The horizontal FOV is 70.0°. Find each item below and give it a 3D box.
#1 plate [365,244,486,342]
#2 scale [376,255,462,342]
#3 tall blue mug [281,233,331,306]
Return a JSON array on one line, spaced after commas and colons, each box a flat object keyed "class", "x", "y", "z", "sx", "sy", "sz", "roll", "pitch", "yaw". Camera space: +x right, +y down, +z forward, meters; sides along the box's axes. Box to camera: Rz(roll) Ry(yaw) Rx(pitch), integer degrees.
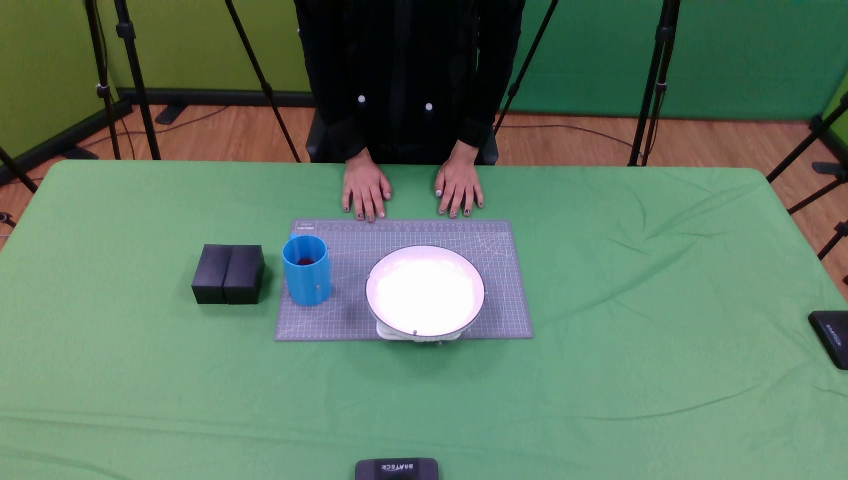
[{"class": "plate", "x": 0.001, "y": 0.093, "z": 1.051, "sx": 0.209, "sy": 0.038, "sz": 0.208, "roll": 1, "pitch": 46, "yaw": -1}, {"class": "scale", "x": -0.010, "y": 0.096, "z": 1.094, "sx": 0.149, "sy": 0.032, "sz": 0.199, "roll": 2, "pitch": 46, "yaw": -3}, {"class": "tall blue mug", "x": -0.218, "y": 0.046, "z": 1.073, "sx": 0.107, "sy": 0.108, "sz": 0.077, "roll": 28, "pitch": 51, "yaw": 21}]
